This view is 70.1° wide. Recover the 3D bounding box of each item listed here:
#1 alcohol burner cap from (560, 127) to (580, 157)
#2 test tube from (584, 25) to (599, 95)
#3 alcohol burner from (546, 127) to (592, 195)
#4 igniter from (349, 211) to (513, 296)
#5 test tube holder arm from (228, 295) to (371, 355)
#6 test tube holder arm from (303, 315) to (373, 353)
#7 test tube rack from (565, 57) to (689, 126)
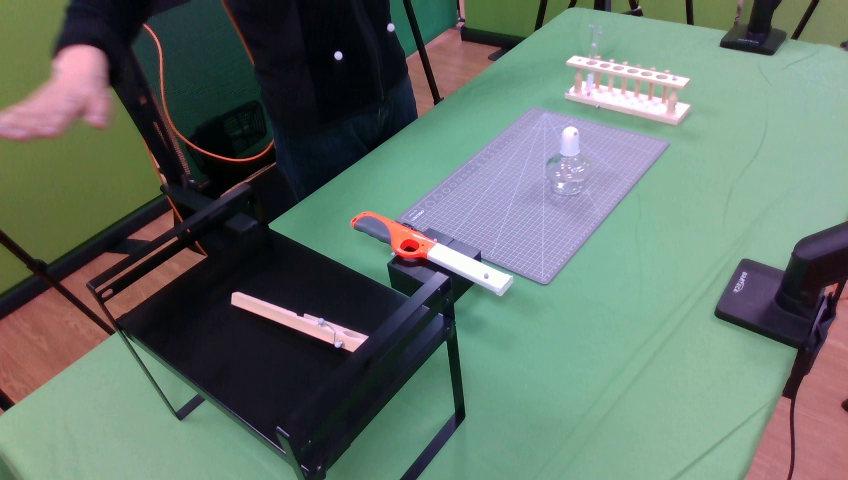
[{"bbox_3d":[0.243,-0.165,1.001,0.034,0.048,0.033,-4,38,3],"label":"alcohol burner cap"},{"bbox_3d":[0.339,-0.361,1.224,0.017,0.151,0.017,-4,45,4],"label":"test tube"},{"bbox_3d":[0.246,-0.137,1.024,0.078,0.119,0.077,-4,38,4],"label":"alcohol burner"},{"bbox_3d":[0.003,0.013,0.881,0.274,0.025,0.057,24,52,28],"label":"igniter"},{"bbox_3d":[-0.132,0.084,0.618,0.177,0.015,0.013,14,6,24],"label":"test tube holder arm"},{"bbox_3d":[-0.089,0.094,0.604,0.087,0.015,0.010,14,6,26],"label":"test tube holder arm"},{"bbox_3d":[0.412,-0.311,1.230,0.240,0.085,0.067,23,49,32],"label":"test tube rack"}]
